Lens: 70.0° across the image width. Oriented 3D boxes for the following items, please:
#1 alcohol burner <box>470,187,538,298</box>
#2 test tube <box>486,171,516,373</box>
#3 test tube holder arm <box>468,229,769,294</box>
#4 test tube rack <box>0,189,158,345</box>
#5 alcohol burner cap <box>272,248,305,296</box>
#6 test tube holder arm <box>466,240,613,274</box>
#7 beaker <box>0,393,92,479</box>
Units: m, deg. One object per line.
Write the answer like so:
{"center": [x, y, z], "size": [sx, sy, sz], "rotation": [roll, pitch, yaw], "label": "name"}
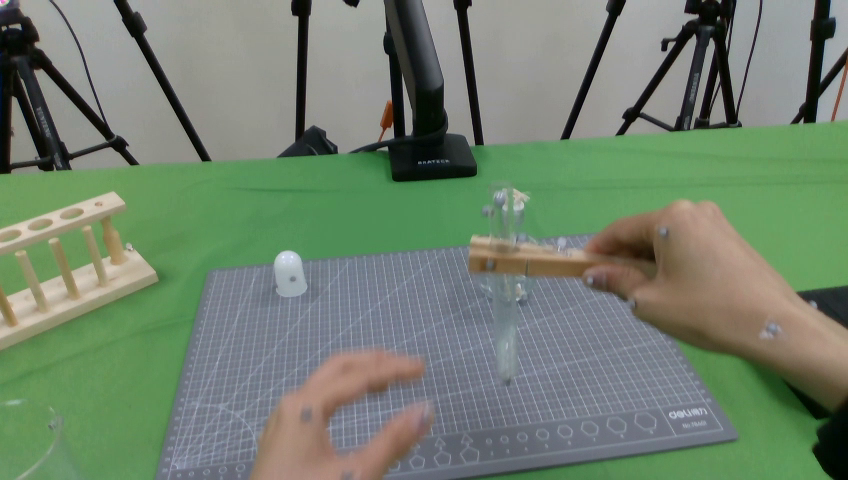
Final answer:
{"center": [0.083, -0.001, 0.606], "size": [0.078, 0.120, 0.077], "rotation": [1, 35, -1], "label": "alcohol burner"}
{"center": [0.051, 0.027, 0.389], "size": [0.017, 0.151, 0.017], "rotation": [-4, 30, 3], "label": "test tube"}
{"center": [0.115, 0.013, 0.372], "size": [0.178, 0.015, 0.013], "rotation": [8, 36, 8], "label": "test tube holder arm"}
{"center": [-0.399, 0.039, 0.582], "size": [0.242, 0.086, 0.066], "rotation": [-28, 43, -34], "label": "test tube rack"}
{"center": [-0.142, 0.030, 0.626], "size": [0.034, 0.048, 0.033], "rotation": [-1, 34, 1], "label": "alcohol burner cap"}
{"center": [0.070, 0.011, 0.372], "size": [0.088, 0.015, 0.010], "rotation": [4, 36, 2], "label": "test tube holder arm"}
{"center": [-0.261, 0.161, 0.390], "size": [0.084, 0.101, 0.073], "rotation": [-1, 34, 1], "label": "beaker"}
